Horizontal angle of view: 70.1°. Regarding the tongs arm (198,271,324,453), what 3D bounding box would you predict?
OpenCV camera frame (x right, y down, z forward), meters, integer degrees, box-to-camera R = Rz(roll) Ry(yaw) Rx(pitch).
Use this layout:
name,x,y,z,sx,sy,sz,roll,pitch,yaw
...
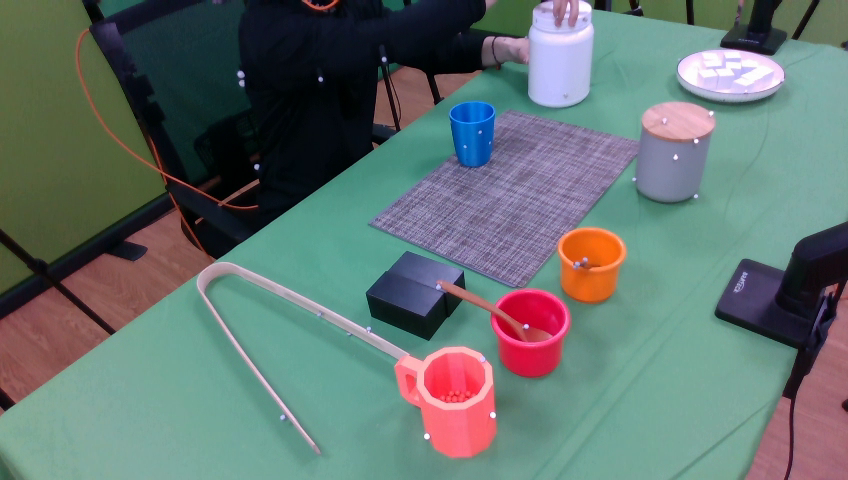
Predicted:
name,x,y,z,sx,sy,sz,roll,pitch,yaw
tongs arm,-0.236,0.154,0.831,0.028,0.028,0.384,-37,48,-18

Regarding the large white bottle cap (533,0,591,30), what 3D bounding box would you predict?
name,x,y,z,sx,sy,sz,roll,pitch,yaw
large white bottle cap,0.275,-0.450,1.204,0.115,0.018,0.114,-4,41,4

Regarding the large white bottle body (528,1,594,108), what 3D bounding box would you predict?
name,x,y,z,sx,sy,sz,roll,pitch,yaw
large white bottle body,0.283,-0.386,1.259,0.130,0.185,0.130,-4,41,4

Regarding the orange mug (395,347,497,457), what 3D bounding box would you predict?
name,x,y,z,sx,sy,sz,roll,pitch,yaw
orange mug,0.024,0.181,0.703,0.125,0.101,0.083,21,48,23

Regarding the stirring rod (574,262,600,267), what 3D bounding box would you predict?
name,x,y,z,sx,sy,sz,roll,pitch,yaw
stirring rod,0.222,0.033,0.816,0.014,0.006,0.177,7,0,22

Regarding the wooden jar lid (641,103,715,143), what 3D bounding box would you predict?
name,x,y,z,sx,sy,sz,roll,pitch,yaw
wooden jar lid,0.398,-0.180,0.952,0.108,0.021,0.108,-4,43,4

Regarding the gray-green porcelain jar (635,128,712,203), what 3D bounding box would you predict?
name,x,y,z,sx,sy,sz,roll,pitch,yaw
gray-green porcelain jar,0.404,-0.133,0.992,0.106,0.127,0.105,-4,40,4

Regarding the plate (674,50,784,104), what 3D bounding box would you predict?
name,x,y,z,sx,sy,sz,roll,pitch,yaw
plate,0.631,-0.336,1.262,0.207,0.039,0.206,-4,41,4

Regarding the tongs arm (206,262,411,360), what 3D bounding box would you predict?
name,x,y,z,sx,sy,sz,roll,pitch,yaw
tongs arm,-0.179,0.106,0.870,0.381,0.027,0.051,23,55,32

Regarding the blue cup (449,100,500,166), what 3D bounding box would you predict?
name,x,y,z,sx,sy,sz,roll,pitch,yaw
blue cup,0.092,-0.194,1.123,0.092,0.100,0.092,-3,40,3

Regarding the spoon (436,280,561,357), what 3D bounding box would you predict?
name,x,y,z,sx,sy,sz,roll,pitch,yaw
spoon,0.096,0.095,0.757,0.195,0.021,0.041,34,41,-20
